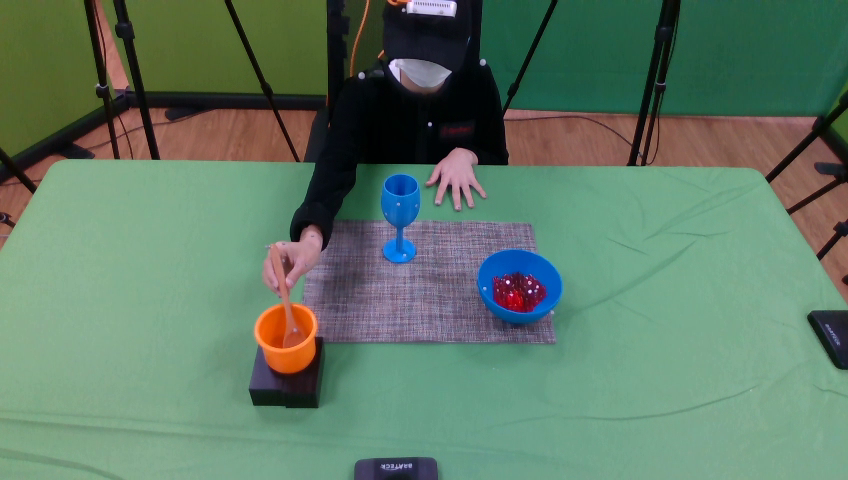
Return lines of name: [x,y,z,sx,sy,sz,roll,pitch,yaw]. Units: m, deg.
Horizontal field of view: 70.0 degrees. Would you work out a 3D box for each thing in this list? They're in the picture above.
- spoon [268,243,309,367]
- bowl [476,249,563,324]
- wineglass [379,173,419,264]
spoon: [-0.211,0.098,0.925,0.042,0.194,0.021,-12,6,-14]
bowl: [0.163,0.096,1.073,0.151,0.077,0.150,2,45,-2]
wineglass: [-0.046,-0.036,1.120,0.074,0.173,0.073,2,46,-2]
